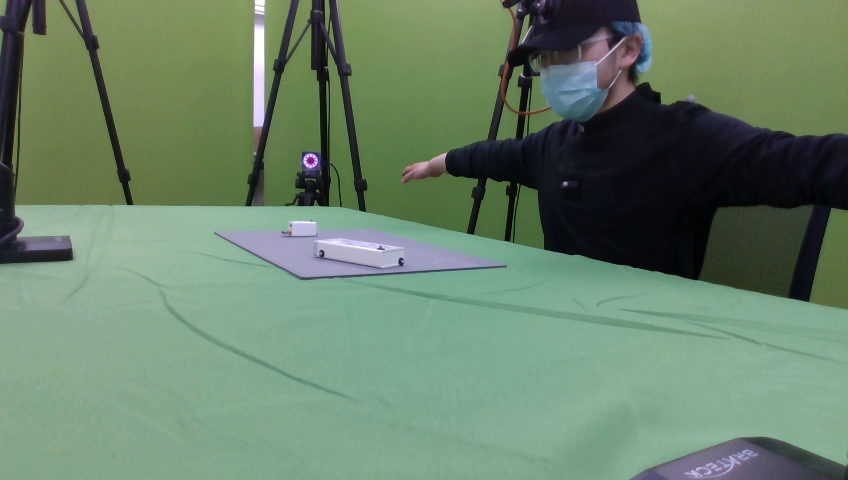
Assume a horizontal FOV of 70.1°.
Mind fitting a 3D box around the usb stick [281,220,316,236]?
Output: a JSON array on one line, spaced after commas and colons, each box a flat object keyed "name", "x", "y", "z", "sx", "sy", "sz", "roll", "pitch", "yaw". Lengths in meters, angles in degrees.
[{"name": "usb stick", "x": -0.220, "y": -0.020, "z": 1.054, "sx": 0.059, "sy": 0.027, "sz": 0.021, "roll": -5, "pitch": 12, "yaw": -32}]

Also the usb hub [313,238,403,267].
[{"name": "usb hub", "x": -0.091, "y": 0.016, "z": 0.818, "sx": 0.124, "sy": 0.025, "sz": 0.050, "roll": 7, "pitch": 9, "yaw": 36}]
